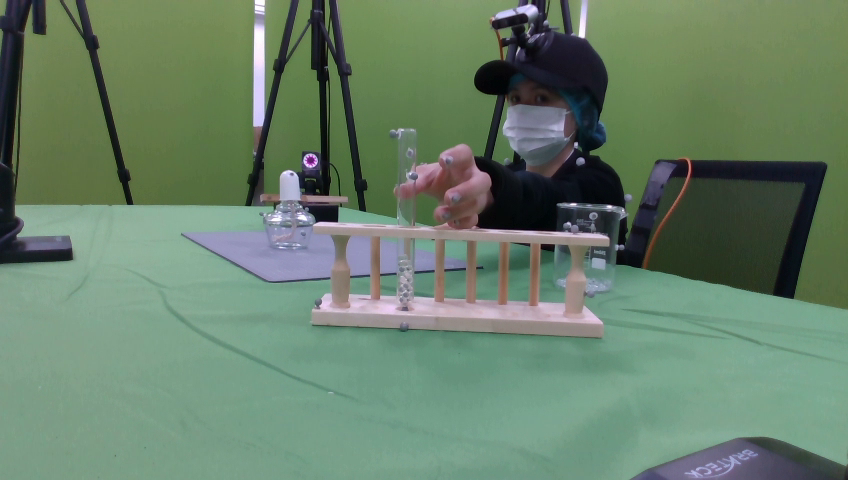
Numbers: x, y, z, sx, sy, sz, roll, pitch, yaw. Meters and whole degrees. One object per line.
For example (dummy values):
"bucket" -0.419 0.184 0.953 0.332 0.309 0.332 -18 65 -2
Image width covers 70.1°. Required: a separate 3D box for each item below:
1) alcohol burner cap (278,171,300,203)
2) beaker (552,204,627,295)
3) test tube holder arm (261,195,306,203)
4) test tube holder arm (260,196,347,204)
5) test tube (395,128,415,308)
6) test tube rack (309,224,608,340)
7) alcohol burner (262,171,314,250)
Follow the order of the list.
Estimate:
"alcohol burner cap" -0.203 -0.080 0.909 0.034 0.048 0.034 0 3 0
"beaker" 0.191 0.010 0.708 0.083 0.100 0.074 8 9 33
"test tube holder arm" -0.275 -0.081 1.184 0.088 0.015 0.010 -1 0 -32
"test tube holder arm" -0.239 -0.081 1.213 0.179 0.015 0.013 -1 0 -32
"test tube" -0.016 -0.016 0.502 0.017 0.150 0.017 1 10 0
"test tube rack" 0.028 0.032 0.527 0.242 0.085 0.067 3 7 0
"alcohol burner" -0.205 -0.044 0.913 0.078 0.119 0.078 1 9 0
